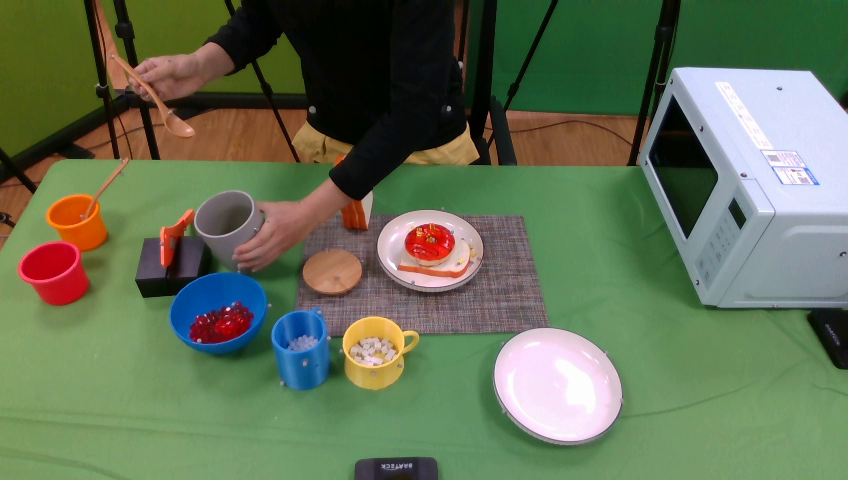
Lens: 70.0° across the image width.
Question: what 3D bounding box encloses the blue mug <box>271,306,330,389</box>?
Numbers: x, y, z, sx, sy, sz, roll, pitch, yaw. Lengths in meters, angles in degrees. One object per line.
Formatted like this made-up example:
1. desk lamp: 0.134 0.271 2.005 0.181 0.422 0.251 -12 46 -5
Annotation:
1. blue mug: -0.188 0.163 0.969 0.082 0.106 0.116 15 47 10

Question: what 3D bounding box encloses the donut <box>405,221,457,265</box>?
1. donut: 0.013 0.004 1.137 0.099 0.048 0.098 0 46 0

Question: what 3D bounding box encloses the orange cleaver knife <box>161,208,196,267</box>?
1. orange cleaver knife: -0.455 -0.010 1.129 0.012 0.077 0.210 -2 17 -6

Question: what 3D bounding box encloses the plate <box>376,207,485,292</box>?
1. plate: 0.012 0.020 1.159 0.209 0.038 0.208 2 47 -2

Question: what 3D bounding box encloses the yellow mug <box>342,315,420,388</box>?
1. yellow mug: -0.068 0.177 0.990 0.131 0.064 0.099 -15 50 -19

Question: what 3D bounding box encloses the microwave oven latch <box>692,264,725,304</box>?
1. microwave oven latch: 0.522 0.081 1.116 0.030 0.029 0.078 1 46 -2

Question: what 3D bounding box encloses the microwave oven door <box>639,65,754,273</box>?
1. microwave oven door: 0.522 -0.147 1.192 0.039 0.245 0.353 0 47 -3

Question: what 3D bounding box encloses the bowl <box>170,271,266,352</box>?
1. bowl: -0.333 0.132 1.006 0.151 0.077 0.150 2 46 -2

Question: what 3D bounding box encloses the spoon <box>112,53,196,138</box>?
1. spoon: -0.457 -0.245 1.024 0.194 0.021 0.041 51 39 -1

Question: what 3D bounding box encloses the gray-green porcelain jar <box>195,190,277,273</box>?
1. gray-green porcelain jar: -0.327 -0.010 1.073 0.106 0.127 0.105 -5 53 7

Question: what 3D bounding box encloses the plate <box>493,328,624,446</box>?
1. plate: 0.213 0.236 0.974 0.208 0.039 0.206 2 46 -2

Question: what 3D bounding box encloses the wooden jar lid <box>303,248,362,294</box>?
1. wooden jar lid: -0.169 0.059 1.122 0.108 0.021 0.107 2 46 -2

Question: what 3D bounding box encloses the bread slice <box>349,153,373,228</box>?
1. bread slice: -0.124 -0.104 1.207 0.018 0.135 0.106 -1 48 7

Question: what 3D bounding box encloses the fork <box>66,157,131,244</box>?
1. fork: -0.608 -0.074 1.133 0.207 0.019 0.028 -52 52 10

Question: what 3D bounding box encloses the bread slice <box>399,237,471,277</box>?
1. bread slice: 0.025 0.025 1.161 0.131 0.019 0.104 7 47 8

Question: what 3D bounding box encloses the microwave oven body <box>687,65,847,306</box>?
1. microwave oven body: 0.669 -0.111 1.176 0.326 0.261 0.439 0 46 -3
